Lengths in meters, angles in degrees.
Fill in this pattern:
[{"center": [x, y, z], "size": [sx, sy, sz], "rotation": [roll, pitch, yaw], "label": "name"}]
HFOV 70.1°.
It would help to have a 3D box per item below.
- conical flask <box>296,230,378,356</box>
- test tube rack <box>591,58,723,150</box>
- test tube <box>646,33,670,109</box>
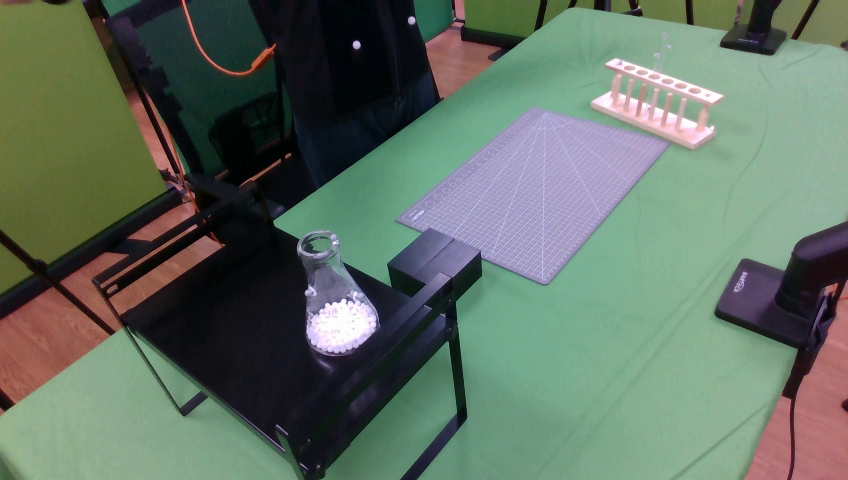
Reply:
[{"center": [-0.090, 0.048, 0.578], "size": [0.075, 0.122, 0.075], "rotation": [-5, 41, 5], "label": "conical flask"}, {"center": [0.442, -0.269, 1.171], "size": [0.067, 0.085, 0.240], "rotation": [-30, 46, -24], "label": "test tube rack"}, {"center": [0.445, -0.319, 1.154], "size": [0.017, 0.151, 0.017], "rotation": [-1, 41, 2], "label": "test tube"}]
